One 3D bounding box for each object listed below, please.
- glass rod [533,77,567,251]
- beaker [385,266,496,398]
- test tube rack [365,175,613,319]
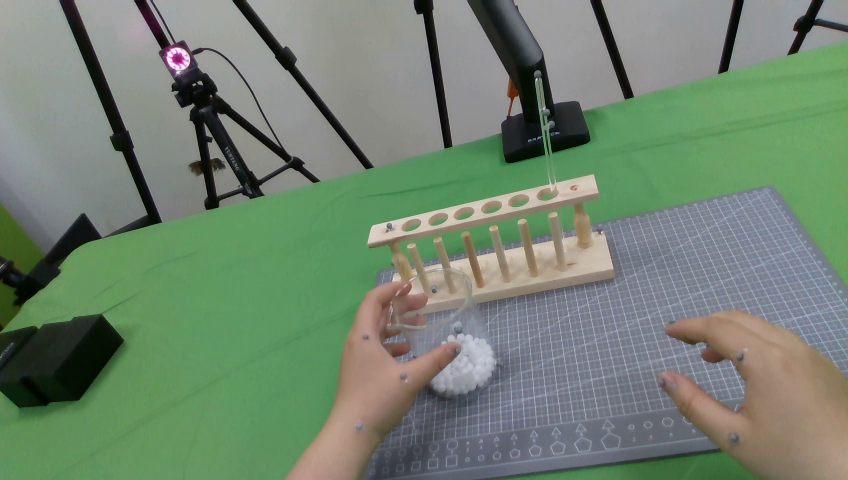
[{"bbox_3d":[0.124,-0.065,0.586,0.008,0.202,0.008,-12,38,10],"label":"glass rod"},{"bbox_3d":[0.018,0.087,0.543,0.084,0.101,0.073,-29,34,-9],"label":"beaker"},{"bbox_3d":[0.065,0.011,0.635,0.242,0.086,0.066,-12,35,14],"label":"test tube rack"}]
